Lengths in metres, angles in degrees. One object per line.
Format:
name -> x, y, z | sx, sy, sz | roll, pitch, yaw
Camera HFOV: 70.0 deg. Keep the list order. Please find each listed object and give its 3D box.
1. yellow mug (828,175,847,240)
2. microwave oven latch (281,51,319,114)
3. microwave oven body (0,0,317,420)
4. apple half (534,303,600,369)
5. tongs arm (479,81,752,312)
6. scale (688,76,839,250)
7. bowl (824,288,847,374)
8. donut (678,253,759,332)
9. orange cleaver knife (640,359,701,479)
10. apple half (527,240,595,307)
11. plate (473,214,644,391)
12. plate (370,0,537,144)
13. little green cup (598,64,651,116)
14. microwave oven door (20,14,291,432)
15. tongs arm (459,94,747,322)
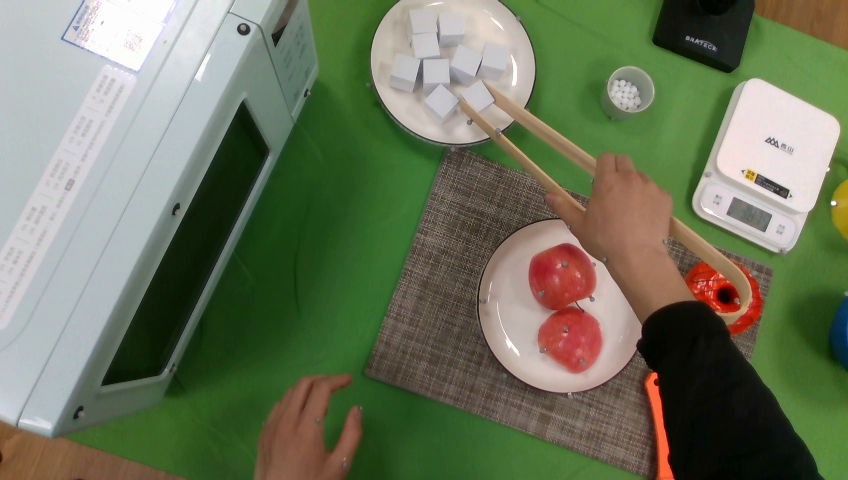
yellow mug -> 0.588, -0.062, 0.783 | 0.100, 0.064, 0.130 | -12, 83, -7
microwave oven latch -> -0.152, -0.191, 0.716 | 0.030, 0.029, 0.079 | 26, 81, -2
microwave oven body -> -0.347, -0.103, 0.586 | 0.326, 0.260, 0.440 | 23, 81, -3
apple half -> 0.175, 0.112, 0.720 | 0.081, 0.033, 0.081 | 0, 83, -2
tongs arm -> 0.189, -0.065, 0.657 | 0.028, 0.028, 0.384 | -35, 62, -20
scale -> 0.443, -0.101, 0.790 | 0.149, 0.031, 0.200 | 25, 81, -2
bowl -> 0.559, 0.116, 0.751 | 0.151, 0.077, 0.151 | 1, 83, -5
donut -> 0.362, 0.065, 0.750 | 0.099, 0.048, 0.098 | 1, 83, -3
orange cleaver knife -> 0.300, 0.250, 0.731 | 0.077, 0.012, 0.210 | 3, 81, -11
apple half -> 0.165, 0.037, 0.720 | 0.081, 0.053, 0.074 | -18, 81, -8
plate -> 0.160, 0.073, 0.730 | 0.209, 0.038, 0.208 | 1, 82, -6
plate -> 0.036, -0.217, 0.759 | 0.208, 0.039, 0.207 | 1, 82, -6
little green cup -> 0.255, -0.190, 0.778 | 0.061, 0.038, 0.061 | 1, 82, -6
microwave oven door -> -0.229, -0.007, 0.580 | 0.039, 0.244, 0.355 | 23, 80, -2
tongs arm -> 0.172, -0.051, 0.651 | 0.051, 0.027, 0.381 | -33, 62, -14
